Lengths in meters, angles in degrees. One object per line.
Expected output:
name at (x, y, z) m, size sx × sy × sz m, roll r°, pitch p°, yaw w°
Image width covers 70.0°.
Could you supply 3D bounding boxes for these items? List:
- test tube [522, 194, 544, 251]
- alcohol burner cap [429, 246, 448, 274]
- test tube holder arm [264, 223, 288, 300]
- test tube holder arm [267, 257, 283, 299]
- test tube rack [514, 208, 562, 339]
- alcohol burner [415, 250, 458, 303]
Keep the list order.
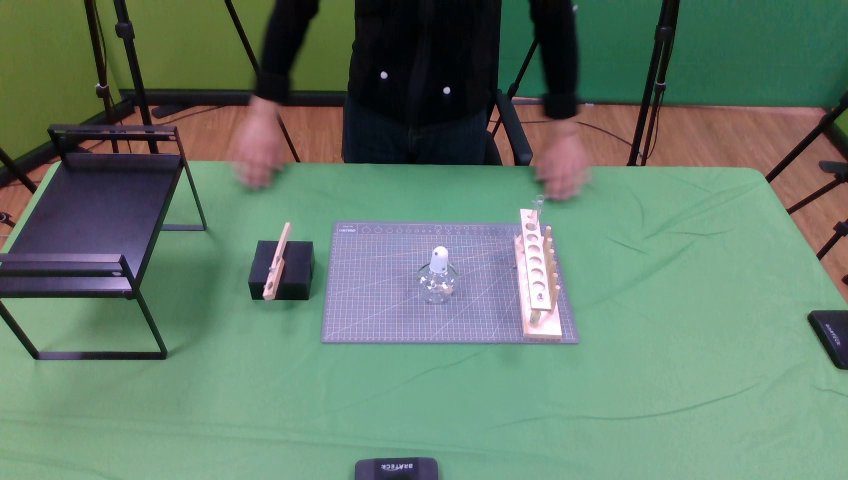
test tube at (0.201, -0.029, 1.125) m, size 0.017 × 0.151 × 0.017 m, roll 2°, pitch 51°, yaw -2°
alcohol burner cap at (0.027, 0.032, 1.052) m, size 0.034 × 0.048 × 0.033 m, roll 4°, pitch 40°, yaw -3°
test tube holder arm at (-0.264, 0.034, 1.082) m, size 0.013 × 0.015 × 0.177 m, roll -3°, pitch 45°, yaw 2°
test tube holder arm at (-0.258, 0.066, 1.050) m, size 0.010 × 0.015 × 0.087 m, roll -2°, pitch 45°, yaw 2°
test tube rack at (0.212, 0.056, 1.113) m, size 0.067 × 0.085 × 0.241 m, roll 3°, pitch 46°, yaw -1°
alcohol burner at (0.024, 0.057, 1.078) m, size 0.078 × 0.119 × 0.077 m, roll 3°, pitch 44°, yaw -3°
